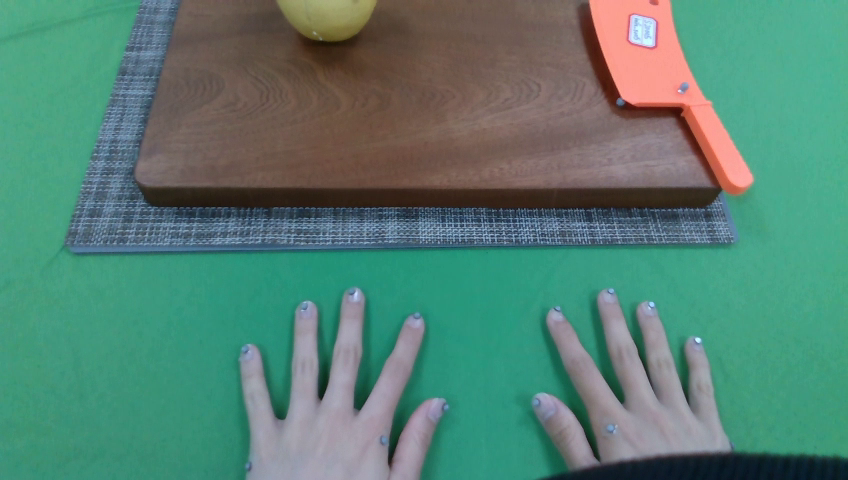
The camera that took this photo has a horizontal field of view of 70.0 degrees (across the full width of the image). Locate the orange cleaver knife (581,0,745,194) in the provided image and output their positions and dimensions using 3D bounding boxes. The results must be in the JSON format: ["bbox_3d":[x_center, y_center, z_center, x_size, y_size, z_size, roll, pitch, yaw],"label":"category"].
[{"bbox_3d":[0.172,-0.123,0.454,0.077,0.012,0.209,-6,62,-11],"label":"orange cleaver knife"}]

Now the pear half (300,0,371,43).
[{"bbox_3d":[-0.056,-0.180,0.430,0.031,0.088,0.070,24,56,12],"label":"pear half"}]

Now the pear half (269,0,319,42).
[{"bbox_3d":[-0.086,-0.202,0.430,0.056,0.110,0.076,26,56,12],"label":"pear half"}]
